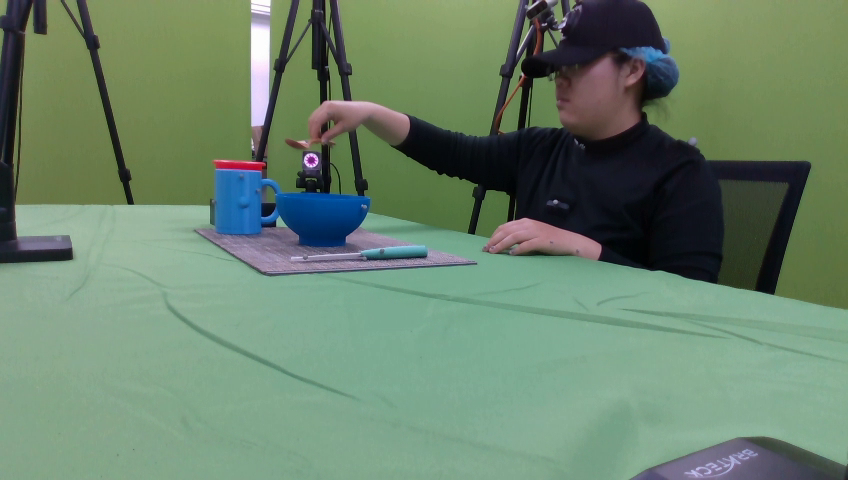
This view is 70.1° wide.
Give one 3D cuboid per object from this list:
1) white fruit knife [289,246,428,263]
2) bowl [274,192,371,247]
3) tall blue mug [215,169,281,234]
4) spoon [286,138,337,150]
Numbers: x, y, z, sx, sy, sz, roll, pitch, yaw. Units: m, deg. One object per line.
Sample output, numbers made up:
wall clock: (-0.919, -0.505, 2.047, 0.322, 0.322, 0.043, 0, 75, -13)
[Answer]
white fruit knife: (-0.082, 0.022, 0.822, 0.208, 0.016, 0.027, -3, -20, -30)
bowl: (-0.161, -0.033, 0.958, 0.151, 0.077, 0.151, 3, 8, 0)
tall blue mug: (-0.313, -0.069, 1.061, 0.077, 0.108, 0.108, 6, 8, 31)
spoon: (-0.212, -0.190, 1.183, 0.041, 0.021, 0.194, 18, 17, 13)
